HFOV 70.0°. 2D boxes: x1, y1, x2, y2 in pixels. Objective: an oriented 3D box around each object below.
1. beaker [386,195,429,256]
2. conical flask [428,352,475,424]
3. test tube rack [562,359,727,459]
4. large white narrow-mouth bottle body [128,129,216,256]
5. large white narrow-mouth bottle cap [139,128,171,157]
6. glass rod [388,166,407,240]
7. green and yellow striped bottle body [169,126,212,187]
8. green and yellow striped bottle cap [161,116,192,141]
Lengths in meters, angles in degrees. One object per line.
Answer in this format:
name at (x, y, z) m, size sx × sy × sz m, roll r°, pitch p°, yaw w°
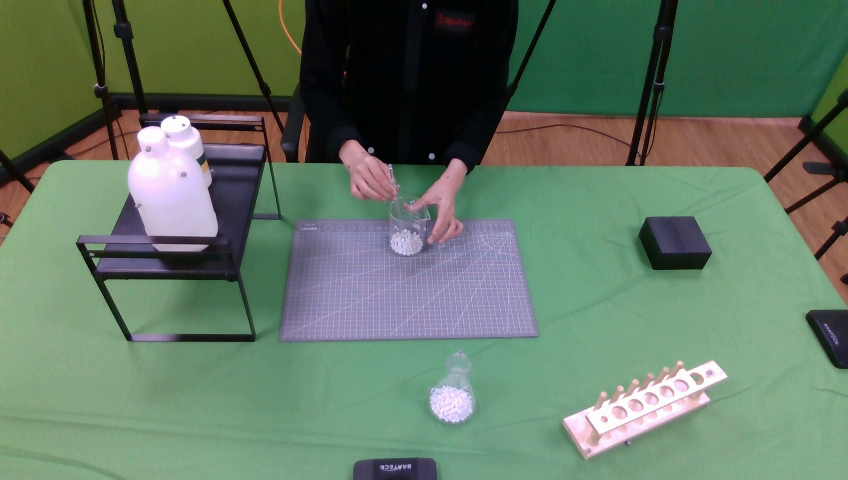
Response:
beaker at (-0.031, -0.024, 1.161) m, size 0.084 × 0.101 × 0.073 m, roll 18°, pitch 48°, yaw 12°
conical flask at (0.046, 0.220, 0.920) m, size 0.075 × 0.122 × 0.075 m, roll 2°, pitch 46°, yaw -2°
test tube rack at (0.341, 0.247, 0.940) m, size 0.243 × 0.085 × 0.066 m, roll -16°, pitch 49°, yaw -18°
large white narrow-mouth bottle body at (-0.366, -0.073, 0.872) m, size 0.102 × 0.195 × 0.101 m, roll 3°, pitch 47°, yaw -3°
large white narrow-mouth bottle cap at (-0.359, -0.131, 0.808) m, size 0.038 × 0.024 × 0.037 m, roll 3°, pitch 47°, yaw -3°
glass rod at (-0.048, -0.063, 1.121) m, size 0.008 × 0.201 × 0.008 m, roll -4°, pitch 50°, yaw 5°
green and yellow striped bottle body at (-0.389, -0.139, 0.984) m, size 0.063 × 0.120 × 0.063 m, roll 2°, pitch 46°, yaw -2°
green and yellow striped bottle cap at (-0.387, -0.174, 0.946) m, size 0.045 × 0.020 × 0.045 m, roll 3°, pitch 44°, yaw -3°
